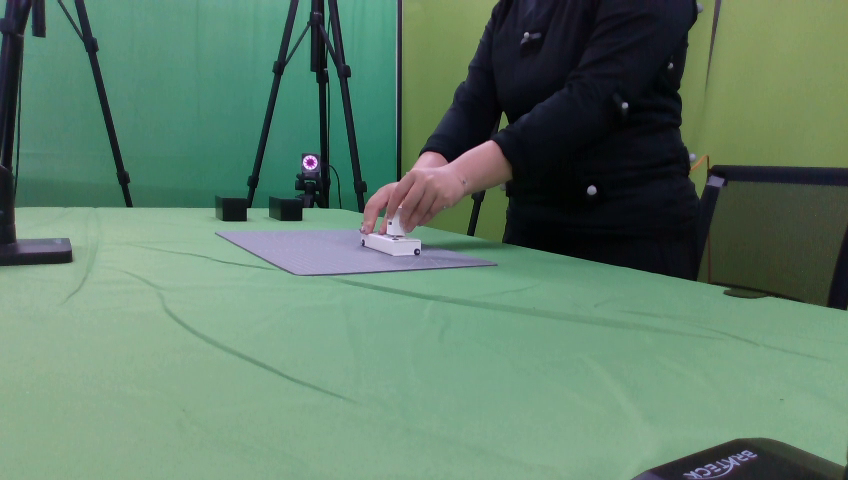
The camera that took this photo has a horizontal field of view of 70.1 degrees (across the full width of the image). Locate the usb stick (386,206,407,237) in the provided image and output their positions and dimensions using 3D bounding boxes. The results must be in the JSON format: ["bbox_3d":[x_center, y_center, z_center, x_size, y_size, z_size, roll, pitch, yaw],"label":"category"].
[{"bbox_3d":[-0.043,-0.023,0.936,0.027,0.059,0.021,-4,10,-33],"label":"usb stick"}]

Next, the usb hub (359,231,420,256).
[{"bbox_3d":[-0.056,0.005,0.953,0.050,0.025,0.124,-2,8,-29],"label":"usb hub"}]
